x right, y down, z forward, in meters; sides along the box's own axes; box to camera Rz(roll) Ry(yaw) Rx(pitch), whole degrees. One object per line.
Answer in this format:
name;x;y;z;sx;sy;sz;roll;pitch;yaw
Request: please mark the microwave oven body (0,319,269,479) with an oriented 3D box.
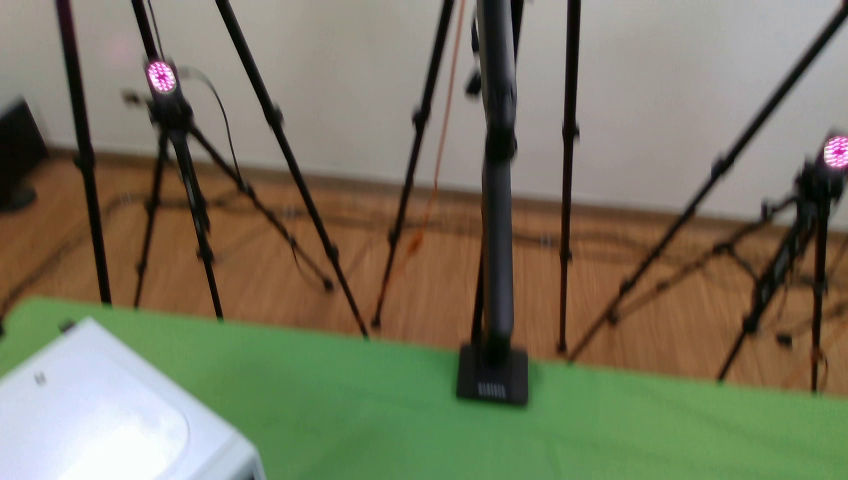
microwave oven body;-0.438;0.361;0.669;0.324;0.262;0.440;27;48;23
